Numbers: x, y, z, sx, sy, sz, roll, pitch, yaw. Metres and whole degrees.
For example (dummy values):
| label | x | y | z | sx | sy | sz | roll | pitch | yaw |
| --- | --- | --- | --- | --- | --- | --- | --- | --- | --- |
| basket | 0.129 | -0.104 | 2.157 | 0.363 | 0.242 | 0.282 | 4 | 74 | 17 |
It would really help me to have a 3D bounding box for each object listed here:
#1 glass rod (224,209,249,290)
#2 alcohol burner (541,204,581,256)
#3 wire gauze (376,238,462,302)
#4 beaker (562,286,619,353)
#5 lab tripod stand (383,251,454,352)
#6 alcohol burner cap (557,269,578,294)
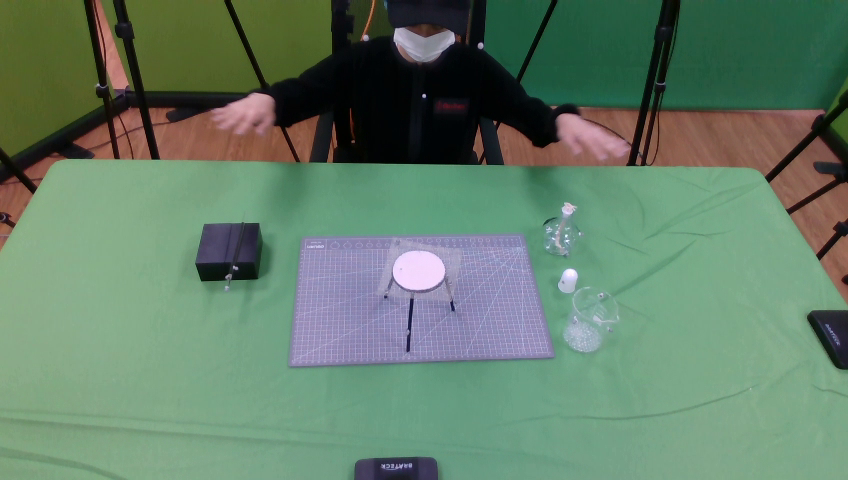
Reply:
| label | x | y | z | sx | sy | sz | roll | pitch | yaw |
| --- | --- | --- | --- | --- | --- | --- | --- | --- | --- |
| glass rod | -0.340 | 0.013 | 1.102 | 0.008 | 0.008 | 0.198 | 2 | 45 | -3 |
| alcohol burner | 0.271 | -0.026 | 1.182 | 0.078 | 0.119 | 0.077 | 4 | 46 | -3 |
| wire gauze | -0.006 | 0.048 | 0.977 | 0.121 | 0.011 | 0.124 | 9 | 46 | 5 |
| beaker | 0.281 | 0.140 | 1.032 | 0.083 | 0.101 | 0.074 | 33 | 53 | 24 |
| lab tripod stand | -0.015 | 0.094 | 1.025 | 0.148 | 0.132 | 0.147 | 1 | 46 | -1 |
| alcohol burner cap | 0.270 | 0.075 | 1.135 | 0.034 | 0.048 | 0.033 | 2 | 46 | -2 |
